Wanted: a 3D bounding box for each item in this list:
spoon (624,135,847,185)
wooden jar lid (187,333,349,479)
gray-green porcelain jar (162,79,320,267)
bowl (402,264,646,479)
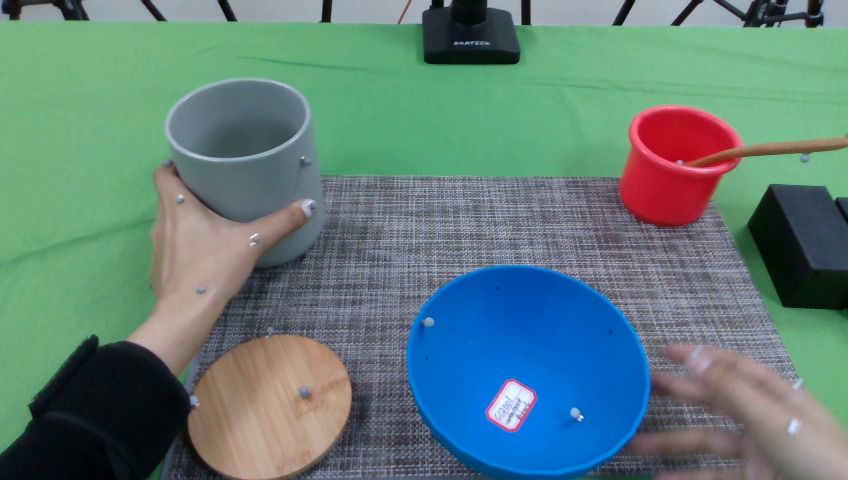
[{"bbox_3d":[0.253,-0.069,0.519,0.041,0.193,0.022,-35,103,-27],"label":"spoon"},{"bbox_3d":[-0.106,0.114,0.418,0.108,0.021,0.107,1,47,0],"label":"wooden jar lid"},{"bbox_3d":[-0.141,-0.049,0.494,0.106,0.127,0.105,1,47,-1],"label":"gray-green porcelain jar"},{"bbox_3d":[0.060,0.097,0.402,0.151,0.077,0.150,2,47,-1],"label":"bowl"}]
